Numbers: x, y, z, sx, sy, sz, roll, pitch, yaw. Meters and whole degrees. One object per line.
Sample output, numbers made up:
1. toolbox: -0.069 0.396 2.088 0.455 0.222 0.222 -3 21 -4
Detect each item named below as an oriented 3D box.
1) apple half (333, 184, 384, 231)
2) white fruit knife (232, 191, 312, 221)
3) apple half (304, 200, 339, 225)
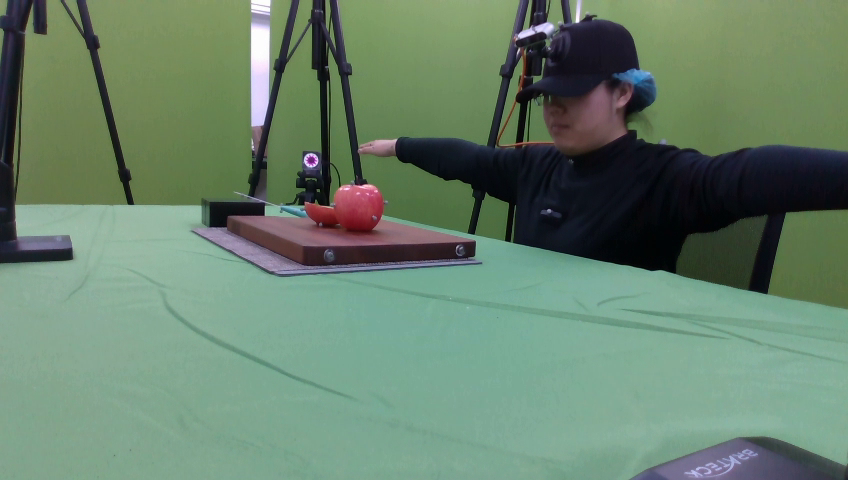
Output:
1. apple half: -0.097 -0.050 0.949 0.081 0.074 0.053 1 11 -38
2. white fruit knife: -0.286 -0.065 1.221 0.208 0.016 0.027 18 -2 -31
3. apple half: -0.163 -0.040 1.000 0.081 0.033 0.081 15 -2 1
